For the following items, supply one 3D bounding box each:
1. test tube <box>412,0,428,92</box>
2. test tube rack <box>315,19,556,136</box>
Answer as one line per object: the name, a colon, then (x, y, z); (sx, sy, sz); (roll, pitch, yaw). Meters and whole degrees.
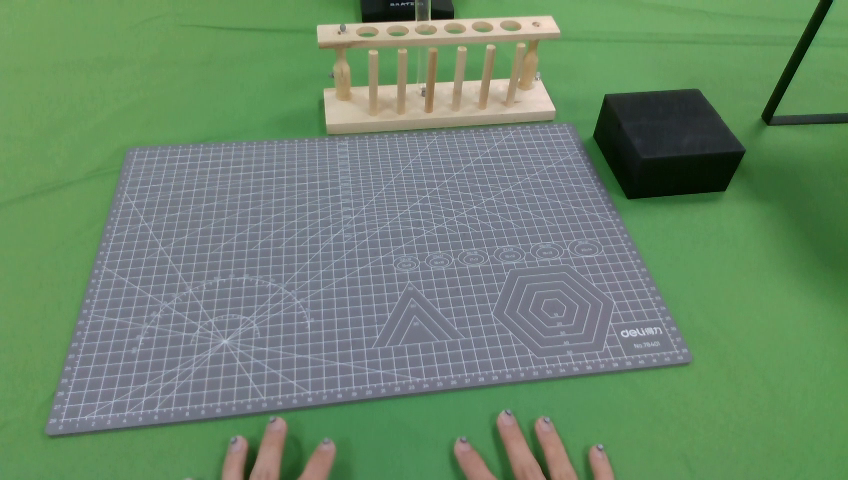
test tube: (-0.004, -0.215, 0.602); (0.017, 0.151, 0.017); (0, 44, 0)
test tube rack: (0.014, -0.169, 0.628); (0.243, 0.086, 0.066); (-5, 47, -8)
